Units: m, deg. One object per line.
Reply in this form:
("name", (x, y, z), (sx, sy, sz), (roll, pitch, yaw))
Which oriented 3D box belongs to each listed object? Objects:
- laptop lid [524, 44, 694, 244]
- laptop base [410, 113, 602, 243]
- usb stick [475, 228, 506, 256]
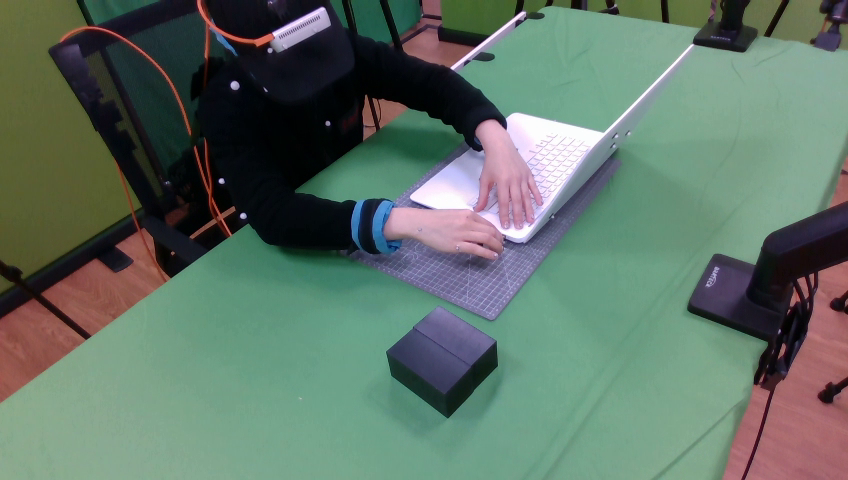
("laptop lid", (0.290, -0.150, 0.941), (0.013, 0.241, 0.358), (40, 54, 12))
("laptop base", (0.171, -0.127, 1.096), (0.233, 0.023, 0.355), (21, 47, 33))
("usb stick", (0.104, 0.000, 0.932), (0.021, 0.027, 0.059), (19, 36, 39))
